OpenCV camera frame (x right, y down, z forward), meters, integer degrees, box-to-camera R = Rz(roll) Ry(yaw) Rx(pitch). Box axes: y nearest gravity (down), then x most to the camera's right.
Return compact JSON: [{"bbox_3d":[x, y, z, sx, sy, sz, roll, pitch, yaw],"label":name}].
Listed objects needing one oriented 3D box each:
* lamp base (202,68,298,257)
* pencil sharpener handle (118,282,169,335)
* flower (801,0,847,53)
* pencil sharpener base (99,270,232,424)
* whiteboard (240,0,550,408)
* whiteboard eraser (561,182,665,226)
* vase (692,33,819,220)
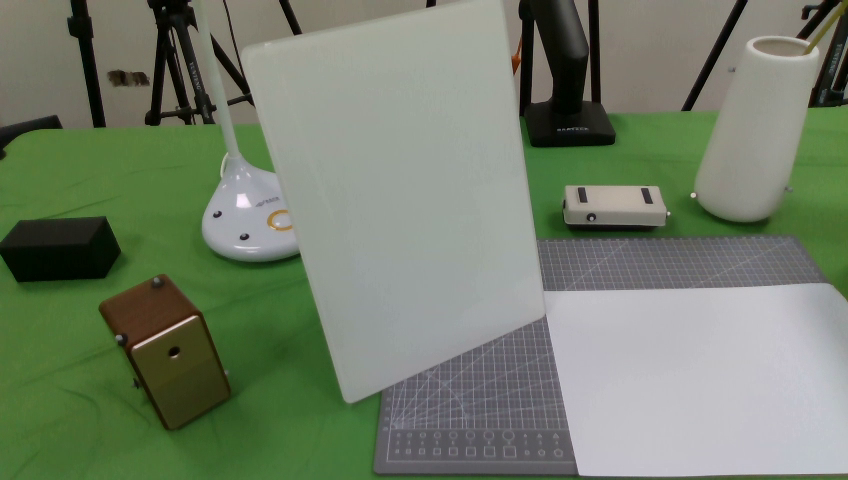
[{"bbox_3d":[-0.201,-0.098,0.699,0.177,0.182,0.160,27,47,36],"label":"lamp base"},{"bbox_3d":[-0.252,0.058,0.543,0.036,0.068,0.030,-37,48,-24],"label":"pencil sharpener handle"},{"bbox_3d":[0.377,-0.177,0.614,0.044,0.364,0.038,-16,57,-26],"label":"flower"},{"bbox_3d":[-0.220,0.091,0.519,0.061,0.108,0.076,-31,45,-30],"label":"pencil sharpener base"},{"bbox_3d":[-0.029,-0.045,0.565,0.217,0.307,0.142,-20,22,-19],"label":"whiteboard"},{"bbox_3d":[0.220,-0.041,0.712,0.112,0.042,0.055,0,36,5],"label":"whiteboard eraser"},{"bbox_3d":[0.371,-0.121,0.677,0.098,0.202,0.097,-1,38,1],"label":"vase"}]
